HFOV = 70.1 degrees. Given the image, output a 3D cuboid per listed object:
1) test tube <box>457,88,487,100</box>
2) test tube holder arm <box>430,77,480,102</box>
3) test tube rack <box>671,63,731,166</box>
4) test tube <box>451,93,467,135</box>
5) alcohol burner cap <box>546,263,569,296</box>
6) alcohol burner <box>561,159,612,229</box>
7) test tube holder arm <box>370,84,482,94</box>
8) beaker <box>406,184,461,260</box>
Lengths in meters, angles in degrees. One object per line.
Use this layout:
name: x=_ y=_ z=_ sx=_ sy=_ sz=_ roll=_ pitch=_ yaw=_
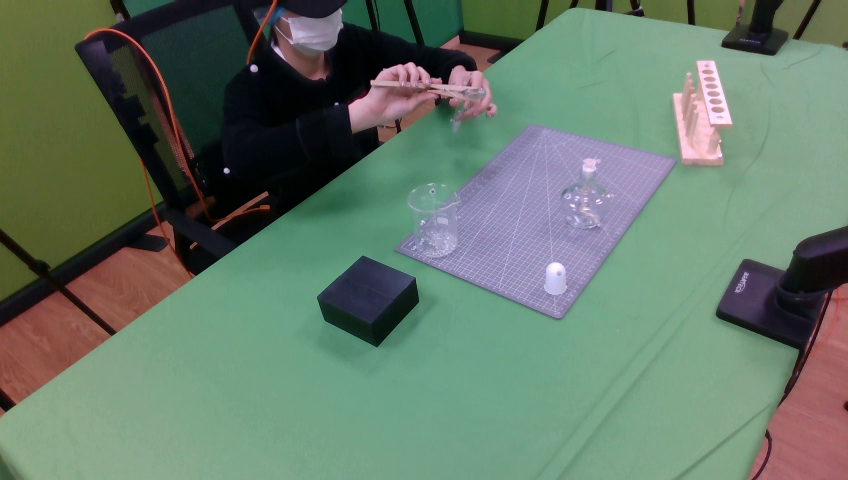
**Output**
test tube: x=0.075 y=-0.229 z=0.954 sx=0.017 sy=0.017 sz=0.149 roll=-13 pitch=14 yaw=-6
test tube holder arm: x=0.049 y=-0.242 z=0.973 sx=0.088 sy=0.010 sz=0.015 roll=-20 pitch=11 yaw=4
test tube rack: x=0.513 y=-0.241 z=1.132 sx=0.066 sy=0.085 sz=0.242 roll=4 pitch=41 yaw=14
test tube: x=0.062 y=-0.225 z=1.096 sx=0.017 sy=0.150 sz=0.017 roll=1 pitch=77 yaw=-2
alcohol burner cap: x=0.191 y=0.053 z=0.862 sx=0.034 sy=0.048 sz=0.033 roll=-5 pitch=40 yaw=4
alcohol burner: x=0.257 y=-0.077 z=0.951 sx=0.078 sy=0.119 sz=0.077 roll=-3 pitch=40 yaw=3
test tube holder arm: x=0.003 y=-0.243 z=0.972 sx=0.178 sy=0.013 sz=0.015 roll=4 pitch=14 yaw=-1
beaker: x=0.019 y=-0.026 z=0.939 sx=0.084 sy=0.101 sz=0.074 roll=1 pitch=41 yaw=9
